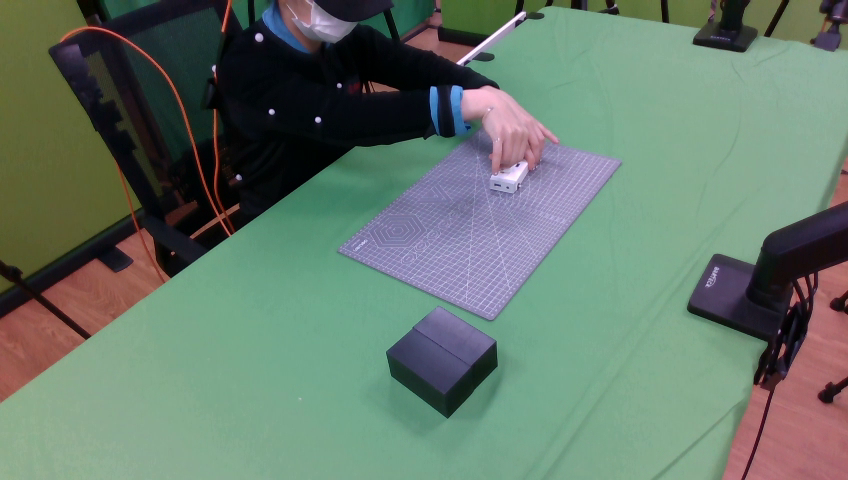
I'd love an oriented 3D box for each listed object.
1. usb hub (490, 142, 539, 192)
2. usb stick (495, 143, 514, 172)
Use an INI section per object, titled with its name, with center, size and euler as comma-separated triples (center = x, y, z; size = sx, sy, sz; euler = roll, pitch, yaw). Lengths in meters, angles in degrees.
[usb hub]
center = 0.165, -0.132, 1.092
size = 0.049, 0.025, 0.125
euler = 15, 45, 23
[usb stick]
center = 0.141, -0.138, 1.053
size = 0.027, 0.059, 0.021
euler = 11, 47, 22
